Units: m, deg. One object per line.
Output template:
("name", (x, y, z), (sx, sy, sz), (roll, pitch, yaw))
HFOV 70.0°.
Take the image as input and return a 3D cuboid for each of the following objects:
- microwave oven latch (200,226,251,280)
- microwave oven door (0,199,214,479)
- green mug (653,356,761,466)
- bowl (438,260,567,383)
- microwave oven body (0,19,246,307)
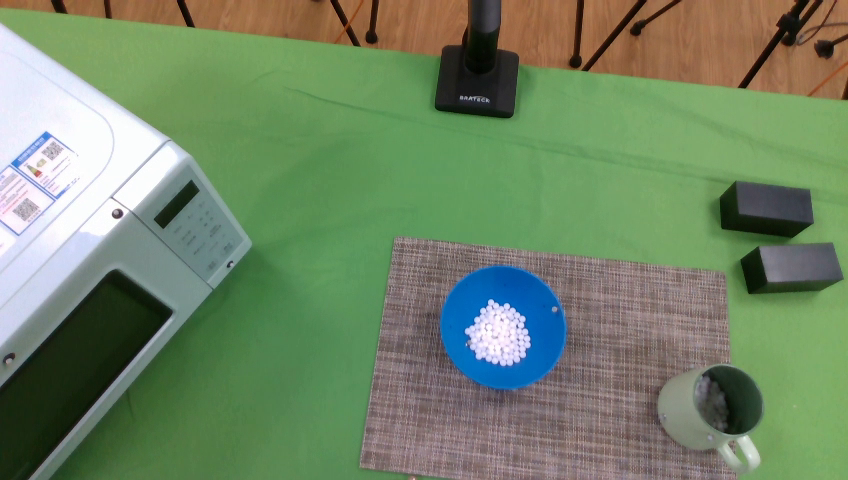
("microwave oven latch", (-0.259, 0.013, 0.787), (0.030, 0.030, 0.079), (35, 73, 12))
("microwave oven door", (-0.387, 0.140, 0.626), (0.039, 0.245, 0.355), (33, 72, 13))
("green mug", (0.334, 0.199, 0.699), (0.092, 0.105, 0.124), (-24, 70, -10))
("bowl", (0.091, 0.107, 0.747), (0.151, 0.077, 0.150), (0, 68, 0))
("microwave oven body", (-0.483, 0.032, 0.673), (0.325, 0.262, 0.440), (33, 73, 11))
